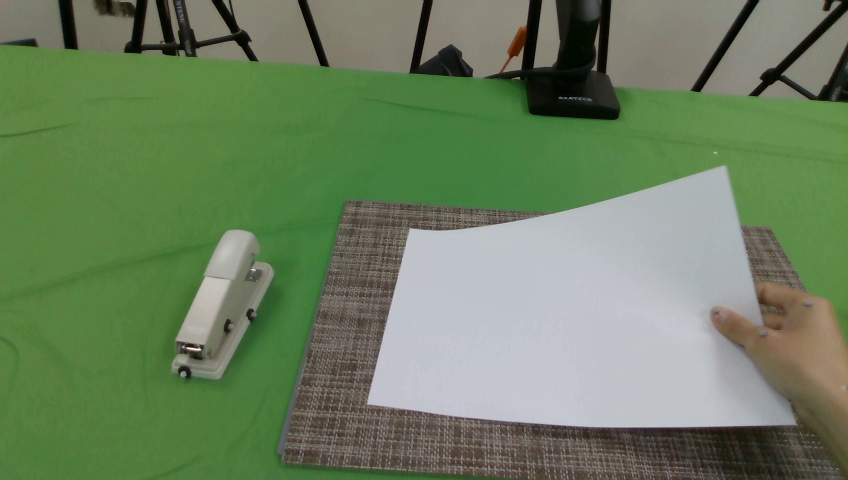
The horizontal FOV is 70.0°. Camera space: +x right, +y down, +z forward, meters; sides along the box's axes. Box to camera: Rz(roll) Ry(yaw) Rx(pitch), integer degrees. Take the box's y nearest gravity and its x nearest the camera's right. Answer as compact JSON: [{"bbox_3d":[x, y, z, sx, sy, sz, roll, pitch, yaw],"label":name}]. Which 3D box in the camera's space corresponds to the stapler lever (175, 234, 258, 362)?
[{"bbox_3d":[-0.167,0.043,0.493,0.027,0.040,0.117,6,42,7],"label":"stapler lever"}]

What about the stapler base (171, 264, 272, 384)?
[{"bbox_3d":[-0.168,0.060,0.511,0.041,0.024,0.129,6,42,6],"label":"stapler base"}]
